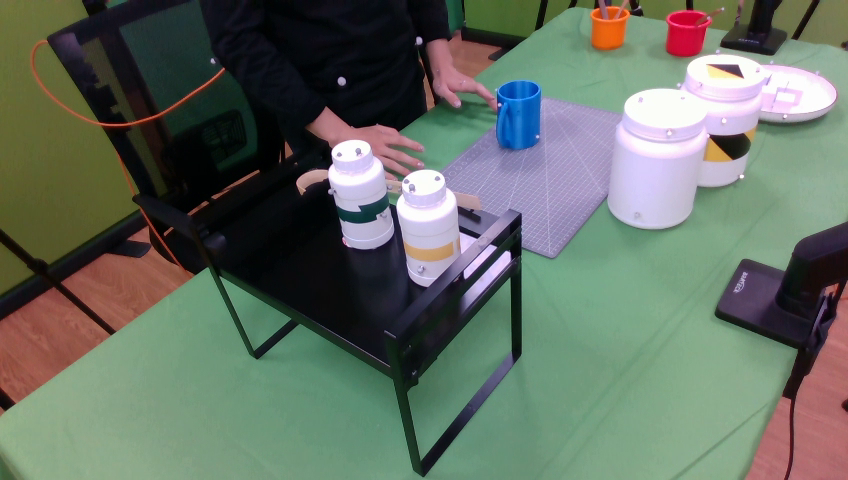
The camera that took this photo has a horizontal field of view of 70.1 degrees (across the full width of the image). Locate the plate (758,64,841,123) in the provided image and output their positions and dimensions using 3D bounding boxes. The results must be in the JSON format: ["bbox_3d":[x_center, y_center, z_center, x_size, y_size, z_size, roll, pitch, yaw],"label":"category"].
[{"bbox_3d":[0.694,-0.283,1.189,0.207,0.039,0.206,-4,40,4],"label":"plate"}]

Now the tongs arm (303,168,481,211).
[{"bbox_3d":[-0.070,-0.086,1.048,0.381,0.026,0.051,16,47,38],"label":"tongs arm"}]

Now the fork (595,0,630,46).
[{"bbox_3d":[0.480,-0.556,1.453,0.028,0.019,0.207,41,103,40],"label":"fork"}]

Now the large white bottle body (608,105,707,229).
[{"bbox_3d":[0.361,-0.124,0.941,0.130,0.185,0.130,-5,41,4],"label":"large white bottle body"}]

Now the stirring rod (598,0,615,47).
[{"bbox_3d":[0.437,-0.551,1.462,0.014,0.006,0.175,-11,83,1],"label":"stirring rod"}]

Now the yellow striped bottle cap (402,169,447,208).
[{"bbox_3d":[0.000,-0.052,0.605,0.044,0.019,0.044,-5,42,5],"label":"yellow striped bottle cap"}]

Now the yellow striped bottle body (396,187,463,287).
[{"bbox_3d":[0.006,-0.013,0.638,0.063,0.121,0.062,-5,41,4],"label":"yellow striped bottle body"}]

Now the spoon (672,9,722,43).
[{"bbox_3d":[0.606,-0.476,1.345,0.042,0.021,0.193,-6,-3,-2],"label":"spoon"}]

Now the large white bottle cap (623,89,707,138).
[{"bbox_3d":[0.352,-0.187,0.886,0.115,0.018,0.114,-4,41,4],"label":"large white bottle cap"}]

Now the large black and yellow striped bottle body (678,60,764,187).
[{"bbox_3d":[0.482,-0.196,1.008,0.131,0.185,0.130,-4,41,4],"label":"large black and yellow striped bottle body"}]

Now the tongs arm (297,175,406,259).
[{"bbox_3d":[-0.127,-0.043,1.007,0.028,0.028,0.384,-36,38,-20],"label":"tongs arm"}]

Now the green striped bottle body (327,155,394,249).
[{"bbox_3d":[-0.073,-0.053,0.699,0.063,0.120,0.063,-5,41,4],"label":"green striped bottle body"}]

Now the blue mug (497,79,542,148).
[{"bbox_3d":[0.175,-0.234,1.156,0.081,0.106,0.117,24,50,32],"label":"blue mug"}]

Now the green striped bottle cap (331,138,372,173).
[{"bbox_3d":[-0.080,-0.093,0.665,0.044,0.020,0.044,-4,42,4],"label":"green striped bottle cap"}]

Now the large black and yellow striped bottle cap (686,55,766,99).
[{"bbox_3d":[0.474,-0.258,0.952,0.115,0.019,0.114,-5,41,5],"label":"large black and yellow striped bottle cap"}]
